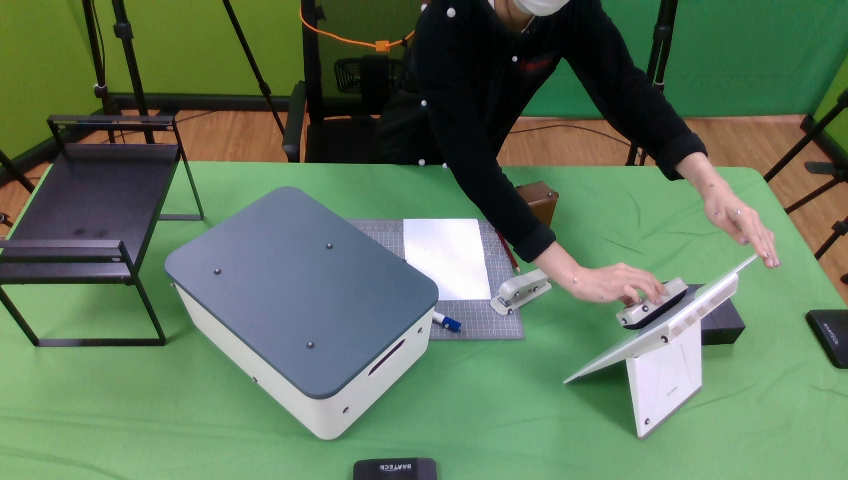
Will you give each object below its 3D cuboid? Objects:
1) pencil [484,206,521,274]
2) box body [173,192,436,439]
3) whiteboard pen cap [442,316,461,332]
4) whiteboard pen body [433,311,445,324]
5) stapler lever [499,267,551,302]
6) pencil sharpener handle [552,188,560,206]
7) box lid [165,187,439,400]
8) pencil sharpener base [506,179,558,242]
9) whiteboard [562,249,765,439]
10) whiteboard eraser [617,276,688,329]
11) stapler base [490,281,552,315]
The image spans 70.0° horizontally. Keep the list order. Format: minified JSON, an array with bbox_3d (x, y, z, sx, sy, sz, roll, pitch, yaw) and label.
[{"bbox_3d":[0.158,-0.002,1.217,0.012,0.012,0.192,-10,48,-14],"label":"pencil"},{"bbox_3d":[-0.191,0.110,0.979,0.362,0.161,0.254,33,53,24],"label":"box body"},{"bbox_3d":[0.048,0.146,1.060,0.033,0.018,0.018,24,49,16],"label":"whiteboard pen cap"},{"bbox_3d":[-0.004,0.123,1.074,0.140,0.017,0.017,24,49,15],"label":"whiteboard pen body"},{"bbox_3d":[0.185,0.076,1.101,0.118,0.040,0.026,-25,57,-29],"label":"stapler lever"},{"bbox_3d":[0.261,-0.084,1.221,0.031,0.068,0.036,-16,64,-19],"label":"pencil sharpener handle"},{"bbox_3d":[-0.187,0.060,0.925,0.370,0.015,0.263,32,53,25],"label":"box lid"},{"bbox_3d":[0.216,-0.059,1.211,0.077,0.107,0.061,-16,49,-19],"label":"pencil sharpener base"},{"bbox_3d":[0.386,0.176,0.905,0.217,0.306,0.143,-26,72,-26],"label":"whiteboard"},{"bbox_3d":[0.372,0.104,0.984,0.112,0.056,0.041,-33,81,-12],"label":"whiteboard eraser"},{"bbox_3d":[0.181,0.094,1.118,0.130,0.024,0.041,-24,57,-29],"label":"stapler base"}]
